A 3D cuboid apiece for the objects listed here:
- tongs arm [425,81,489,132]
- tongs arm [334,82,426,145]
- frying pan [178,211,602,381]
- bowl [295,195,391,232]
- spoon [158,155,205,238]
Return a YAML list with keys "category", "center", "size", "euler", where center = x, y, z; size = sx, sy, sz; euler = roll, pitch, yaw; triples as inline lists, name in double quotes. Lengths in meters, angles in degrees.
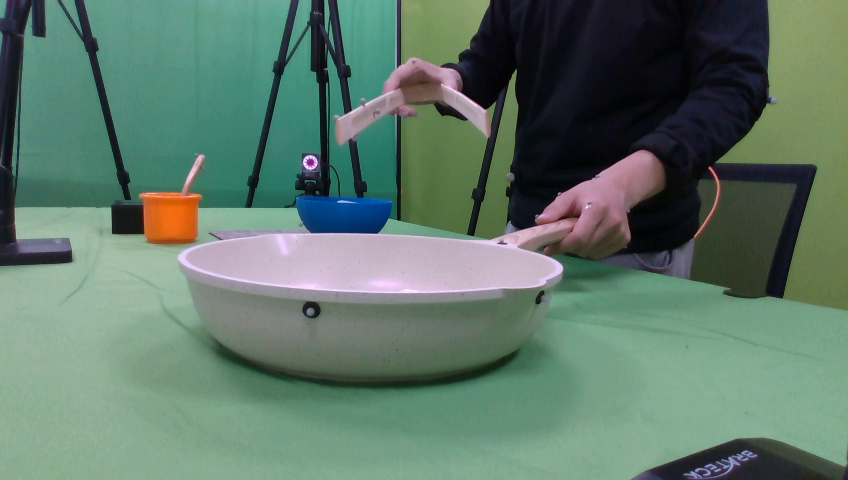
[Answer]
- category: "tongs arm"
  center: [0.035, -0.171, 0.739]
  size: [0.028, 0.028, 0.386]
  euler: [-12, 19, -2]
- category: "tongs arm"
  center: [-0.041, -0.164, 0.743]
  size: [0.051, 0.026, 0.384]
  euler: [-5, 18, 8]
- category: "frying pan"
  center: [0.035, 0.019, 0.556]
  size: [0.490, 0.102, 0.305]
  euler: [-16, 18, -42]
- category: "bowl"
  center: [-0.127, -0.027, 0.947]
  size: [0.151, 0.077, 0.151]
  euler: [2, 7, 0]
- category: "spoon"
  center: [-0.392, -0.076, 0.998]
  size: [0.041, 0.193, 0.021]
  euler: [2, -36, 5]
